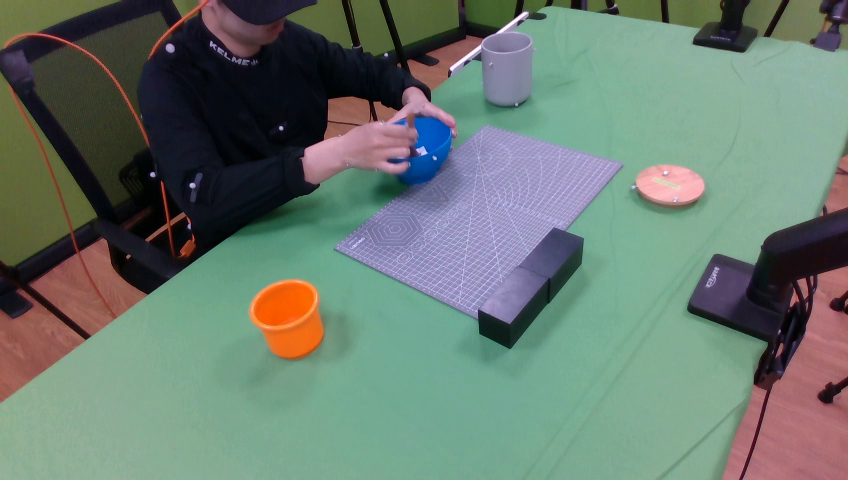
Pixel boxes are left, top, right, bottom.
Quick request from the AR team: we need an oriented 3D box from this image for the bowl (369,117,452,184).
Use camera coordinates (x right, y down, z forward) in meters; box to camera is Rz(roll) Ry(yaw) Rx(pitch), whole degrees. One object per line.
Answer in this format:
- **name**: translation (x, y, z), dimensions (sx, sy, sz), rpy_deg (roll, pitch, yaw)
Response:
- **bowl**: translation (-0.019, -0.155, 1.106), dimensions (0.151, 0.077, 0.150), rpy_deg (-7, 38, 6)

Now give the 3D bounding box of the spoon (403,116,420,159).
- **spoon**: translation (-0.023, -0.166, 1.035), dimensions (0.042, 0.194, 0.021), rpy_deg (-11, 72, -5)

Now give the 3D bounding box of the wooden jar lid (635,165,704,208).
- **wooden jar lid**: translation (0.410, -0.089, 1.014), dimensions (0.108, 0.021, 0.108), rpy_deg (-5, 42, 5)

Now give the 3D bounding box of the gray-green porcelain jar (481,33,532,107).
- **gray-green porcelain jar**: translation (0.175, -0.355, 1.278), dimensions (0.106, 0.127, 0.105), rpy_deg (-4, 41, 4)
